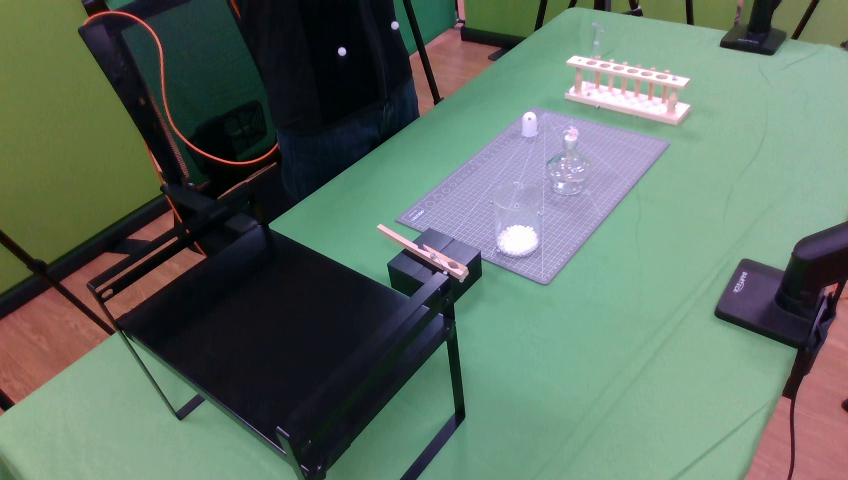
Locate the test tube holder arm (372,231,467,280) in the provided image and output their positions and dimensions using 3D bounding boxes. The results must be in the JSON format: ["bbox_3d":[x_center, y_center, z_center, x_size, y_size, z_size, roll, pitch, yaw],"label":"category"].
[{"bbox_3d":[-0.011,0.020,0.885,0.177,0.015,0.013,22,44,32],"label":"test tube holder arm"}]

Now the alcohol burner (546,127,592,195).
[{"bbox_3d":[0.246,-0.137,1.024,0.078,0.119,0.077,-4,38,4],"label":"alcohol burner"}]

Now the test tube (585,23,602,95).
[{"bbox_3d":[0.342,-0.364,1.226,0.017,0.151,0.017,-2,42,2],"label":"test tube"}]

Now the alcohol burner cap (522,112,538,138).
[{"bbox_3d":[0.210,-0.230,1.195,0.034,0.048,0.033,-5,42,5],"label":"alcohol burner cap"}]

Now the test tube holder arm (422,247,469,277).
[{"bbox_3d":[0.028,0.032,0.864,0.087,0.015,0.010,24,45,34],"label":"test tube holder arm"}]

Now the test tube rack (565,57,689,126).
[{"bbox_3d":[0.412,-0.311,1.230,0.240,0.085,0.067,23,49,32],"label":"test tube rack"}]

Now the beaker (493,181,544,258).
[{"bbox_3d":[0.145,-0.031,0.925,0.074,0.101,0.084,6,41,16],"label":"beaker"}]
